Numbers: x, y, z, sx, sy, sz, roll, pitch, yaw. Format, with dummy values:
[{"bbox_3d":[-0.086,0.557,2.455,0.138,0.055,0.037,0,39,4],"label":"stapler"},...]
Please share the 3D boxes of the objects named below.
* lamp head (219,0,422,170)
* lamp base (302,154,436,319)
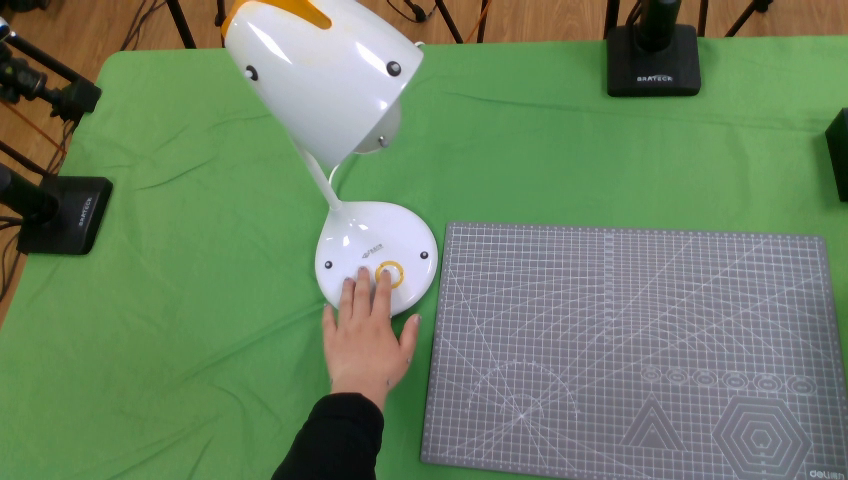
[{"bbox_3d":[-0.081,-0.128,0.434,0.123,0.112,0.112,37,74,-13],"label":"lamp head"},{"bbox_3d":[-0.085,-0.015,0.711,0.160,0.182,0.177,-44,64,-11],"label":"lamp base"}]
